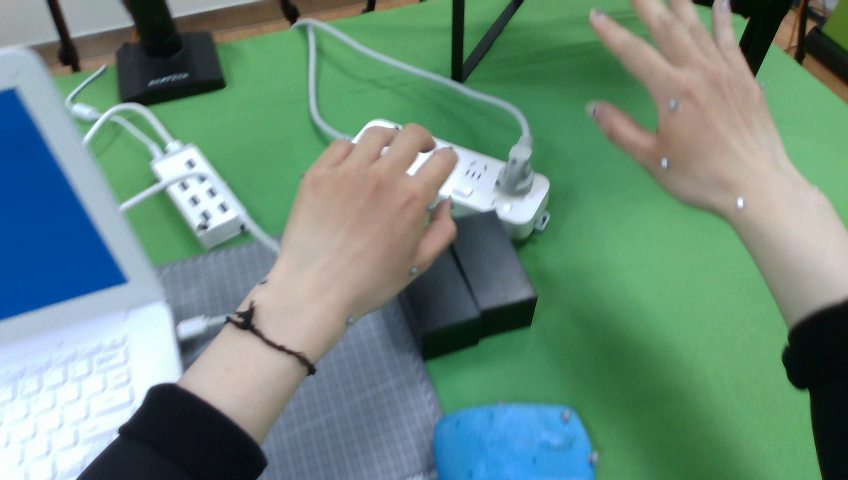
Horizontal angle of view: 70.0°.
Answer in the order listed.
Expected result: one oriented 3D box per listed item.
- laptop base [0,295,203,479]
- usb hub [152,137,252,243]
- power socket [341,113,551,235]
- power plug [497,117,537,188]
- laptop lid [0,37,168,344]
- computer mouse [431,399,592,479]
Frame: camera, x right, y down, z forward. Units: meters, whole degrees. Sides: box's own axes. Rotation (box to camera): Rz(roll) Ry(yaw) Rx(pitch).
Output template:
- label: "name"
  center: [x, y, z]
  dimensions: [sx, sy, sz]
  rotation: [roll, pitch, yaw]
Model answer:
- label: "laptop base"
  center: [-0.341, 0.188, 0.428]
  dimensions: [0.355, 0.023, 0.233]
  rotation: [-18, 58, -12]
- label: "usb hub"
  center: [-0.225, -0.053, 0.608]
  dimensions: [0.049, 0.025, 0.124]
  rotation: [-31, 58, -21]
- label: "power socket"
  center: [0.022, -0.071, 0.616]
  dimensions: [0.225, 0.033, 0.072]
  rotation: [23, 55, 17]
- label: "power plug"
  center: [0.100, -0.078, 0.592]
  dimensions: [0.035, 0.053, 0.072]
  rotation: [32, 61, 24]
- label: "laptop lid"
  center: [-0.396, 0.010, 0.418]
  dimensions: [0.357, 0.244, 0.013]
  rotation: [-19, 41, -11]
- label: "computer mouse"
  center: [0.064, 0.149, 0.441]
  dimensions: [0.117, 0.041, 0.062]
  rotation: [-1, 50, -9]
